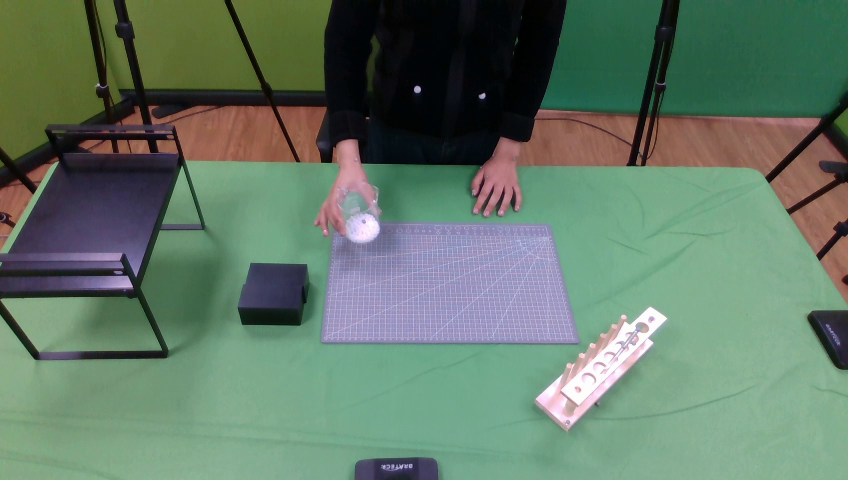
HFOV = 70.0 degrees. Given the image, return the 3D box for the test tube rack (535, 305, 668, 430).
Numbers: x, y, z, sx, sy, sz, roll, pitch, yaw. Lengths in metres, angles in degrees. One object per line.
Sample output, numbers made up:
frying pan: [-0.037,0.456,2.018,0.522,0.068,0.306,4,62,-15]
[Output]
test tube rack: [0.290,0.193,0.984,0.242,0.085,0.066,-32,57,-30]

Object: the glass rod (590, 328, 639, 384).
glass rod: [0.279,0.182,0.903,0.008,0.200,0.008,4,52,-6]

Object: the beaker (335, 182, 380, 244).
beaker: [-0.116,-0.047,1.107,0.084,0.101,0.073,-31,59,-20]
